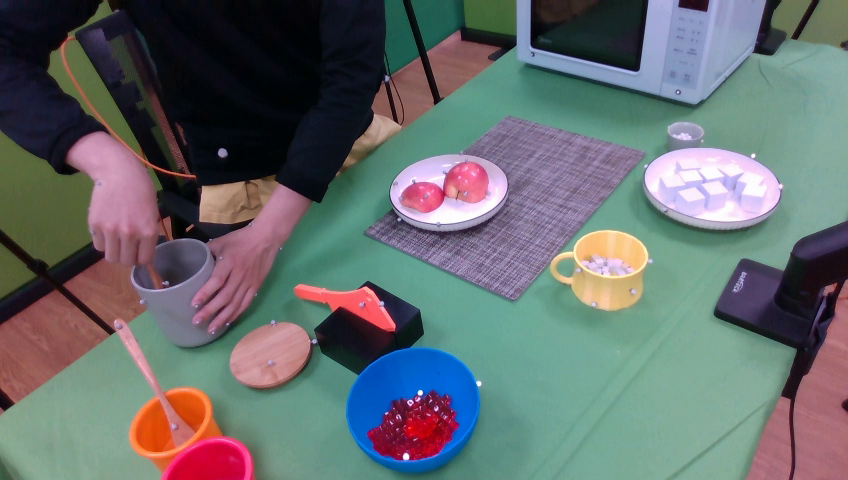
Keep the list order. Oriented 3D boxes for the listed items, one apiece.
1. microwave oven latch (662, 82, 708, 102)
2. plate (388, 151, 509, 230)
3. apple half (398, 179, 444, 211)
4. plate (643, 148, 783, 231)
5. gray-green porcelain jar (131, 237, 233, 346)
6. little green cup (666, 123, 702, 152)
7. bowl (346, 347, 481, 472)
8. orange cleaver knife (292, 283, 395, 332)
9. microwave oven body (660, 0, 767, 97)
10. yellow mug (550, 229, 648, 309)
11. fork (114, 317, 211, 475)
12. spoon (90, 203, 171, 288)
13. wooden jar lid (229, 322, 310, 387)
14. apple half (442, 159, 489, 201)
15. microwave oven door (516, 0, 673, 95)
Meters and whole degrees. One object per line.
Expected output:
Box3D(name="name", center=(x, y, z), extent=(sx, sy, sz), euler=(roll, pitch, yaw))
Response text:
Box3D(name="microwave oven latch", center=(0.517, -0.298, 1.203), extent=(0.078, 0.029, 0.030), euler=(27, 52, 34))
Box3D(name="plate", center=(0.043, -0.082, 1.042), extent=(0.209, 0.038, 0.208), euler=(-4, 40, 4))
Box3D(name="apple half", center=(-0.004, -0.087, 1.045), extent=(0.081, 0.033, 0.081), euler=(-2, 43, 2))
Box3D(name="plate", center=(0.464, -0.079, 0.986), extent=(0.207, 0.039, 0.206), euler=(-4, 40, 4))
Box3D(name="gray-green porcelain jar", center=(-0.333, 0.077, 0.849), extent=(0.106, 0.127, 0.105), euler=(-4, 41, 4))
Box3D(name="little green cup", center=(0.472, -0.183, 1.102), extent=(0.061, 0.039, 0.061), euler=(-5, 41, 5))
Box3D(name="bowl", center=(-0.008, 0.205, 0.690), extent=(0.151, 0.077, 0.150), euler=(-4, 40, 4))
Box3D(name="orange cleaver knife", center=(-0.115, 0.092, 0.835), extent=(0.209, 0.077, 0.012), euler=(1, 32, 48))
Box3D(name="microwave oven body", center=(0.473, -0.517, 1.313), extent=(0.438, 0.261, 0.327), euler=(26, 51, 34))
Box3D(name="yellow mug", center=(0.245, 0.040, 0.856), extent=(0.130, 0.064, 0.099), euler=(1, 41, 11))
Box3D(name="fork", center=(-0.309, 0.179, 0.708), extent=(0.028, 0.018, 0.207), euler=(-30, 89, -24))
Box3D(name="spoon", center=(-0.372, 0.027, 0.803), extent=(0.021, 0.195, 0.041), euler=(-24, 26, 8))
Box3D(name="wooden jar lid", center=(-0.207, 0.156, 0.820), extent=(0.108, 0.021, 0.108), euler=(-3, 39, 3))
Box3D(name="apple half", center=(0.074, -0.110, 1.047), extent=(0.080, 0.053, 0.075), euler=(21, 46, 30))
Box3D(name="microwave oven door", center=(0.344, -0.458, 1.256), extent=(0.353, 0.245, 0.039), euler=(26, 51, 33))
